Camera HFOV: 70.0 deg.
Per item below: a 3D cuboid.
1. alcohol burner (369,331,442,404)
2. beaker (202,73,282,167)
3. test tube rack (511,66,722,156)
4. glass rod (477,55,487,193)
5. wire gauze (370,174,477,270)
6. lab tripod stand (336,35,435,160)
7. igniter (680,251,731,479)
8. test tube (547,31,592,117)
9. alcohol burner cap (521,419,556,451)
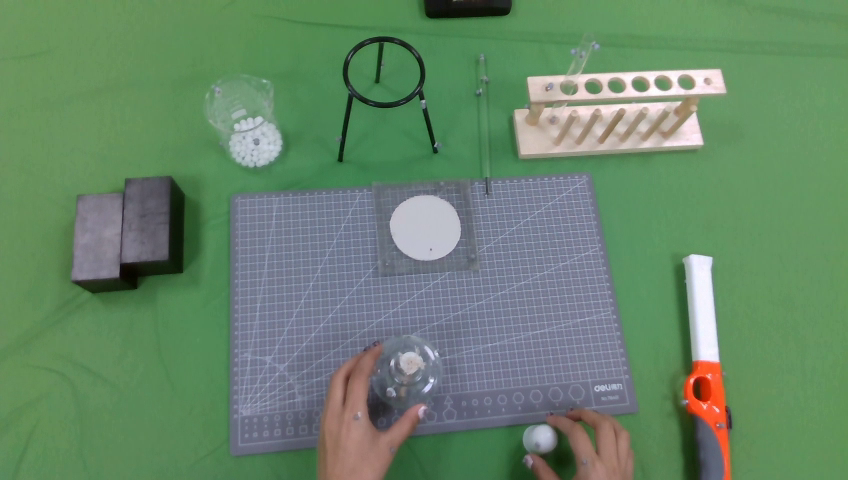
[{"bbox_3d":[-0.019,0.129,0.629,0.078,0.119,0.077,2,69,-5],"label":"alcohol burner"},{"bbox_3d":[-0.207,-0.137,0.712,0.084,0.101,0.073,-43,80,-17],"label":"beaker"},{"bbox_3d":[0.240,-0.161,0.762,0.243,0.085,0.066,-4,72,-6],"label":"test tube rack"},{"bbox_3d":[0.076,-0.153,0.786,0.008,0.008,0.198,1,73,-4],"label":"glass rod"},{"bbox_3d":[-0.002,-0.023,0.736,0.125,0.011,0.120,-3,71,-4],"label":"wire gauze"},{"bbox_3d":[-0.052,-0.167,0.716,0.148,0.132,0.147,1,71,-2],"label":"lab tripod stand"},{"bbox_3d":[0.322,0.146,0.699,0.057,0.025,0.275,8,71,-13],"label":"igniter"},{"bbox_3d":[0.168,-0.190,0.714,0.017,0.151,0.017,1,68,-2],"label":"test tube"},{"bbox_3d":[0.126,0.210,0.655,0.034,0.048,0.033,2,68,-5],"label":"alcohol burner cap"}]
